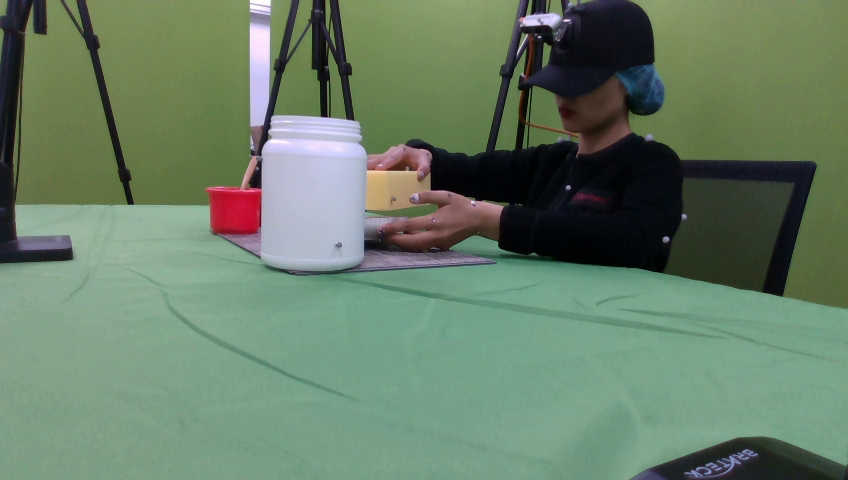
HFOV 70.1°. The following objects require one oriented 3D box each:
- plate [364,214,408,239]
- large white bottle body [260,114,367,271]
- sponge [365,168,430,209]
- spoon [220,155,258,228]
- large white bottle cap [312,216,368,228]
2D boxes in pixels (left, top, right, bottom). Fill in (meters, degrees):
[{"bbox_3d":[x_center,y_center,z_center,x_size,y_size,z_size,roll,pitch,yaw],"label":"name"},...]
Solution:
[{"bbox_3d":[-0.128,-0.021,0.979,0.209,0.038,0.209,-2,3,0],"label":"plate"},{"bbox_3d":[-0.139,-0.062,0.763,0.131,0.184,0.130,3,8,0],"label":"large white bottle body"},{"bbox_3d":[-0.076,-0.088,1.002,0.118,0.061,0.207,3,7,18],"label":"sponge"},{"bbox_3d":[-0.325,-0.090,1.091,0.041,0.021,0.193,3,51,3],"label":"spoon"},{"bbox_3d":[-0.171,-0.038,1.233,0.115,0.018,0.115,2,5,0],"label":"large white bottle cap"}]
